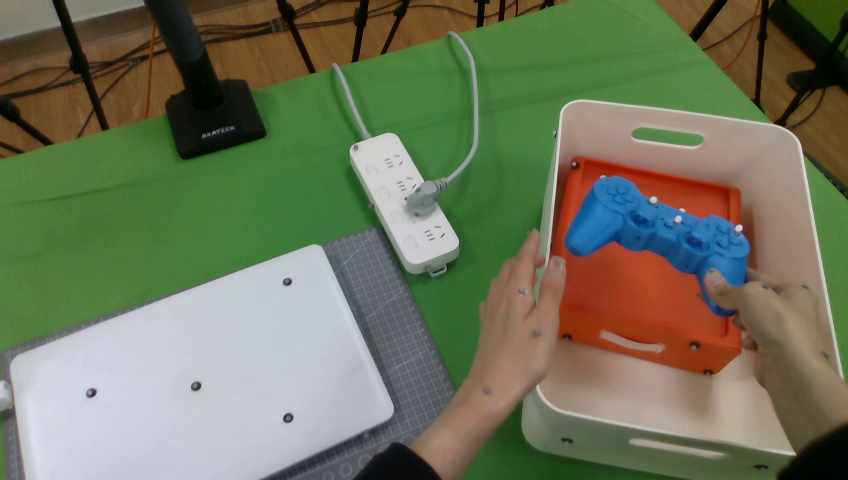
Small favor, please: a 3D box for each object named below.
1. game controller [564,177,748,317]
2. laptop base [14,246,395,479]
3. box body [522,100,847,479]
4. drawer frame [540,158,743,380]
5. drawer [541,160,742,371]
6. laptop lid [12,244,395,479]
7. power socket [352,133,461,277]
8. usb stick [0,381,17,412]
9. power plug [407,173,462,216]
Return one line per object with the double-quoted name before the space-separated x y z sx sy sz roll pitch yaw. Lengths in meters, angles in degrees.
"game controller" 0.208 -0.003 0.530 0.155 0.052 0.096 24 44 6
"laptop base" -0.235 0.159 0.647 0.355 0.023 0.233 -22 64 -14
"box body" 0.245 0.049 0.635 0.254 0.162 0.361 9 58 5
"drawer frame" 0.243 0.026 0.689 0.201 0.083 0.212 14 54 7
"drawer" 0.248 0.024 0.688 0.194 0.074 0.210 13 60 9
"laptop lid" -0.234 0.154 0.636 0.357 0.013 0.239 -20 62 -13
"power socket" -0.026 -0.051 0.775 0.072 0.033 0.224 -20 59 -14
"usb stick" -0.443 0.164 0.627 0.059 0.027 0.021 -17 54 -15
"power plug" 0.014 -0.049 0.747 0.073 0.053 0.035 -10 57 -9
